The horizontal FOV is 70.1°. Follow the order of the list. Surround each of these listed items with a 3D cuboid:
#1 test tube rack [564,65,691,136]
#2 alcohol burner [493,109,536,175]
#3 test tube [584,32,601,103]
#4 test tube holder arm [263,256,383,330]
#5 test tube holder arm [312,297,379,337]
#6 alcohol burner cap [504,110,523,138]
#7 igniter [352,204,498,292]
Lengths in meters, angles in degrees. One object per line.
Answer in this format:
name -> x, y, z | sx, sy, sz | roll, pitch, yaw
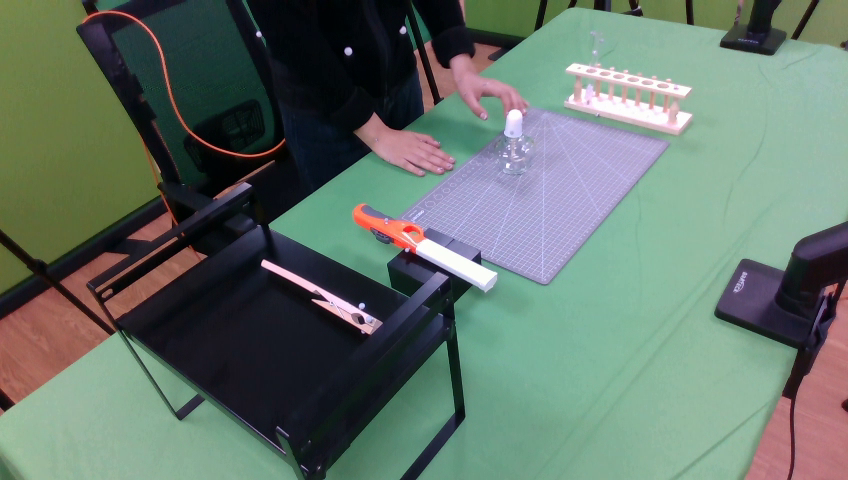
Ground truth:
test tube rack -> 0.404, -0.287, 1.204 | 0.240, 0.085, 0.067 | 24, 49, 32
alcohol burner -> 0.162, -0.179, 1.087 | 0.078, 0.119, 0.077 | -6, 38, 5
test tube -> 0.333, -0.338, 1.199 | 0.017, 0.151, 0.017 | -3, 45, 3
test tube holder arm -> -0.113, 0.054, 0.647 | 0.177, 0.015, 0.013 | 26, 80, 33
test tube holder arm -> -0.082, 0.075, 0.622 | 0.087, 0.015, 0.010 | 27, 80, 33
alcohol burner cap -> 0.159, -0.206, 1.063 | 0.034, 0.048, 0.033 | 0, 41, 1
igniter -> -0.009, 0.005, 0.895 | 0.274, 0.025, 0.057 | 27, 48, 32
